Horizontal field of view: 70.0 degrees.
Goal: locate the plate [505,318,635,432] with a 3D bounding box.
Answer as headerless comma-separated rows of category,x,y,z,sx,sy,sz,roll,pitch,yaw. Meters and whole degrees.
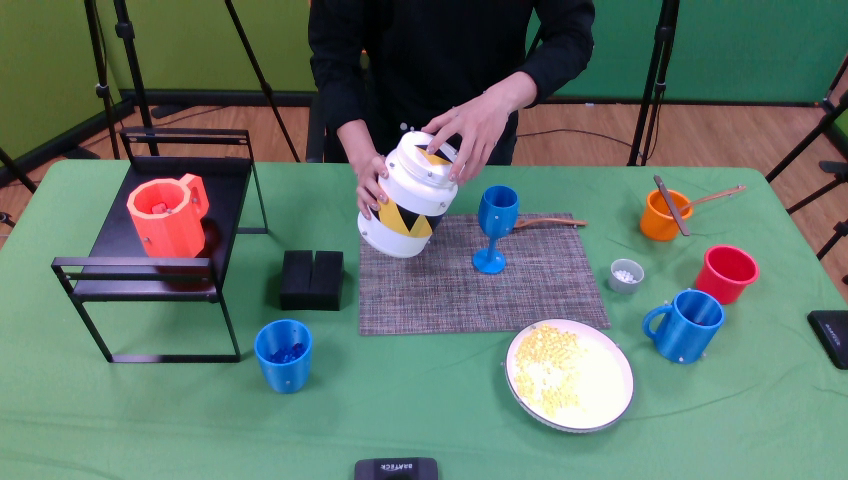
plate,0.235,0.221,0.991,0.209,0.038,0.208,2,45,-2

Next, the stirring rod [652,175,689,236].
stirring rod,0.491,-0.072,1.211,0.014,0.006,0.175,-1,47,-6

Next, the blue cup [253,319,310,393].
blue cup,-0.217,0.187,0.943,0.093,0.101,0.092,3,45,-3

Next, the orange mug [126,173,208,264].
orange mug,-0.371,-0.040,0.902,0.083,0.101,0.126,18,52,13

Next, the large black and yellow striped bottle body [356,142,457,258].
large black and yellow striped bottle body,-0.025,-0.075,1.019,0.131,0.184,0.130,20,36,-16

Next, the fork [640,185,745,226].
fork,0.534,-0.069,1.215,0.207,0.019,0.028,-26,28,33

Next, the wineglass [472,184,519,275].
wineglass,0.129,-0.018,1.113,0.074,0.173,0.073,2,46,-2

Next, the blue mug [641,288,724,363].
blue mug,0.432,0.144,1.033,0.116,0.106,0.082,8,46,4

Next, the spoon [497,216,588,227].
spoon,0.245,-0.039,1.247,0.194,0.022,0.041,-1,25,-6

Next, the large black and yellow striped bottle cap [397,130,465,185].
large black and yellow striped bottle cap,0.012,-0.134,0.972,0.115,0.019,0.114,19,38,-16

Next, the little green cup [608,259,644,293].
little green cup,0.379,0.070,1.147,0.061,0.039,0.061,3,46,-3
